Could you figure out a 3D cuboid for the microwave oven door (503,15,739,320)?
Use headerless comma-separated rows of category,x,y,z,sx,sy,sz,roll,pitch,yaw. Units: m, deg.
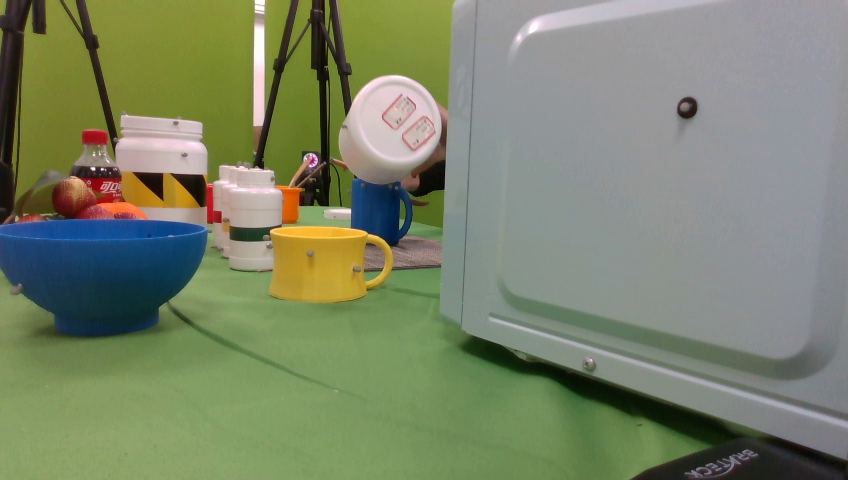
microwave oven door,0.218,-0.065,0.601,0.358,0.243,0.039,-4,10,-41

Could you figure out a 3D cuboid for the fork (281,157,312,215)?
fork,-0.289,-0.116,1.321,0.028,0.019,0.207,6,51,19

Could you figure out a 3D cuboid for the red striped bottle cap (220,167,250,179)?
red striped bottle cap,-0.281,-0.099,0.901,0.044,0.017,0.044,-1,5,0

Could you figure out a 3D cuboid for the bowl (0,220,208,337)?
bowl,-0.251,0.029,0.479,0.151,0.077,0.151,2,7,0

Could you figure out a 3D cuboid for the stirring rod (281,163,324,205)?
stirring rod,-0.278,-0.105,1.293,0.176,0.006,0.014,-47,25,-18

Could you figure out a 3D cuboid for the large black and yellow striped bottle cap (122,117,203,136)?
large black and yellow striped bottle cap,-0.399,-0.174,0.927,0.115,0.019,0.115,5,9,-1

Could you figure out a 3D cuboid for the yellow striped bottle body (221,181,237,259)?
yellow striped bottle body,-0.244,-0.036,0.823,0.063,0.120,0.063,3,8,0

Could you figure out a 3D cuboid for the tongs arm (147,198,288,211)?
tongs arm,-0.503,-0.091,1.513,0.028,0.028,0.389,-1,4,38

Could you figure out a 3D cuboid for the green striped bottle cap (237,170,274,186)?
green striped bottle cap,-0.206,-0.075,0.737,0.044,0.020,0.044,1,6,0

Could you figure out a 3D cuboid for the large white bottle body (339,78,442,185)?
large white bottle body,-0.057,-0.153,0.906,0.131,0.130,0.184,1,-3,-14

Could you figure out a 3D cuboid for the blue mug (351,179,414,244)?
blue mug,-0.067,-0.048,1.001,0.116,0.106,0.083,5,8,30

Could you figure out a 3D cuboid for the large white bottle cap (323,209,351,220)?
large white bottle cap,-0.184,-0.062,1.449,0.115,0.018,0.115,2,8,0

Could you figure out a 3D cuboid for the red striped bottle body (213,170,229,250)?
red striped bottle body,-0.283,-0.047,0.909,0.063,0.119,0.063,2,13,0

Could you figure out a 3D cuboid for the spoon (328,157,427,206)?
spoon,-0.083,-0.105,1.085,0.194,0.021,0.041,29,3,-4

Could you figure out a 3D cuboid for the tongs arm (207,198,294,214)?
tongs arm,-0.423,-0.084,1.472,0.050,0.026,0.386,2,6,22

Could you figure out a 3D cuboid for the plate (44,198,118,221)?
plate,-0.617,-0.056,1.179,0.209,0.038,0.209,3,7,0

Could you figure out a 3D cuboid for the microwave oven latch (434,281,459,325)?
microwave oven latch,0.044,0.045,0.470,0.079,0.029,0.030,-2,8,-39

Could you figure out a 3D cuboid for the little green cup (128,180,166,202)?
little green cup,-0.485,-0.087,1.062,0.061,0.038,0.061,-1,6,0

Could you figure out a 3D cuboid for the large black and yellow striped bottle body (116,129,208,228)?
large black and yellow striped bottle body,-0.404,-0.089,0.937,0.131,0.184,0.130,3,7,0

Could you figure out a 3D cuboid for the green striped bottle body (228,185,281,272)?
green striped bottle body,-0.208,-0.024,0.745,0.063,0.119,0.063,2,7,0

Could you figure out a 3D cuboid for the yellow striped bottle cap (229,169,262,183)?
yellow striped bottle cap,-0.241,-0.086,0.816,0.044,0.018,0.044,0,6,0

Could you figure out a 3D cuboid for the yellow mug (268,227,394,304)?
yellow mug,-0.094,0.023,0.629,0.131,0.064,0.099,0,7,-22

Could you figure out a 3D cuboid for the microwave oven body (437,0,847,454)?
microwave oven body,0.279,-0.040,0.464,0.444,0.260,0.324,-3,9,-41
